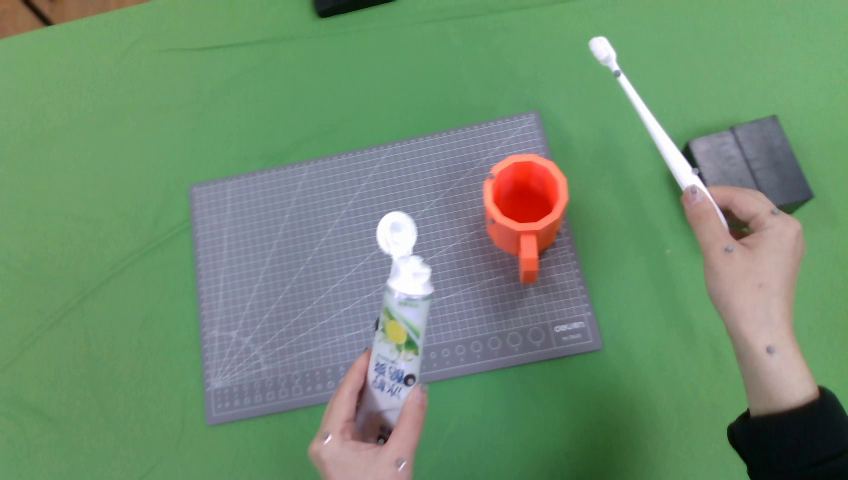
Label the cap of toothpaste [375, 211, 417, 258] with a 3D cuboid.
[{"bbox_3d":[-0.019,-0.004,0.450,0.037,0.011,0.037,0,91,-34],"label":"cap of toothpaste"}]

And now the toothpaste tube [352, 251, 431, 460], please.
[{"bbox_3d":[-0.023,0.086,0.458,0.054,0.034,0.165,19,108,31],"label":"toothpaste tube"}]

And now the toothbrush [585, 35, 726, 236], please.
[{"bbox_3d":[0.173,-0.081,0.456,0.014,0.017,0.181,-36,80,32],"label":"toothbrush"}]

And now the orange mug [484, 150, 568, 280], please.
[{"bbox_3d":[0.110,-0.023,0.657,0.083,0.101,0.125,-3,69,6],"label":"orange mug"}]
